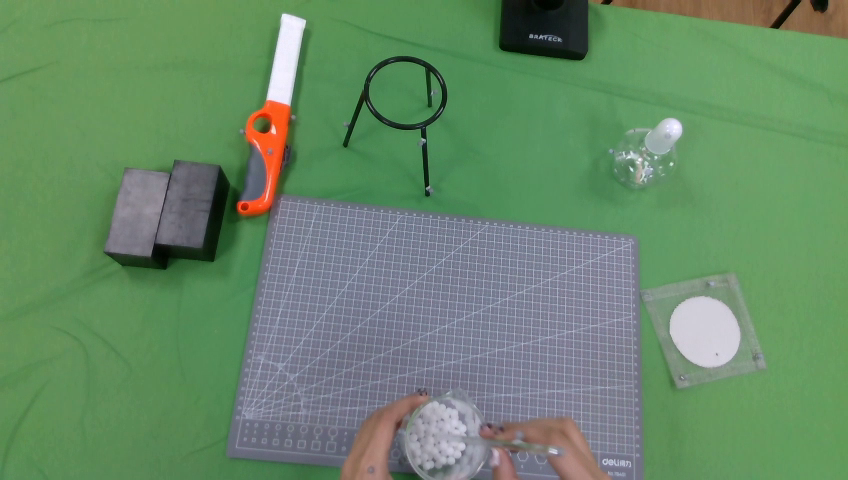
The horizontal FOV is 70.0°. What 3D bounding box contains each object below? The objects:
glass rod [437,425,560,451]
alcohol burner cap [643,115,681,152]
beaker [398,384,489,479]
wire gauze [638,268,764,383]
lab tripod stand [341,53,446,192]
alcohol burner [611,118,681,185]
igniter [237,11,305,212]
[{"bbox_3d":[0.049,0.152,0.470,0.008,0.199,0.008,5,75,-20],"label":"glass rod"},{"bbox_3d":[0.278,-0.126,0.700,0.034,0.048,0.033,1,76,-2],"label":"alcohol burner cap"},{"bbox_3d":[0.014,0.178,0.567,0.074,0.100,0.083,17,73,-3],"label":"beaker"},{"bbox_3d":[0.334,0.101,0.727,0.125,0.011,0.120,-11,74,-6],"label":"wire gauze"},{"bbox_3d":[-0.025,-0.144,0.703,0.148,0.132,0.147,2,70,-4],"label":"lab tripod stand"},{"bbox_3d":[0.274,-0.115,0.734,0.078,0.119,0.077,2,70,-5],"label":"alcohol burner"},{"bbox_3d":[-0.185,-0.161,0.748,0.057,0.025,0.275,12,71,-17],"label":"igniter"}]
